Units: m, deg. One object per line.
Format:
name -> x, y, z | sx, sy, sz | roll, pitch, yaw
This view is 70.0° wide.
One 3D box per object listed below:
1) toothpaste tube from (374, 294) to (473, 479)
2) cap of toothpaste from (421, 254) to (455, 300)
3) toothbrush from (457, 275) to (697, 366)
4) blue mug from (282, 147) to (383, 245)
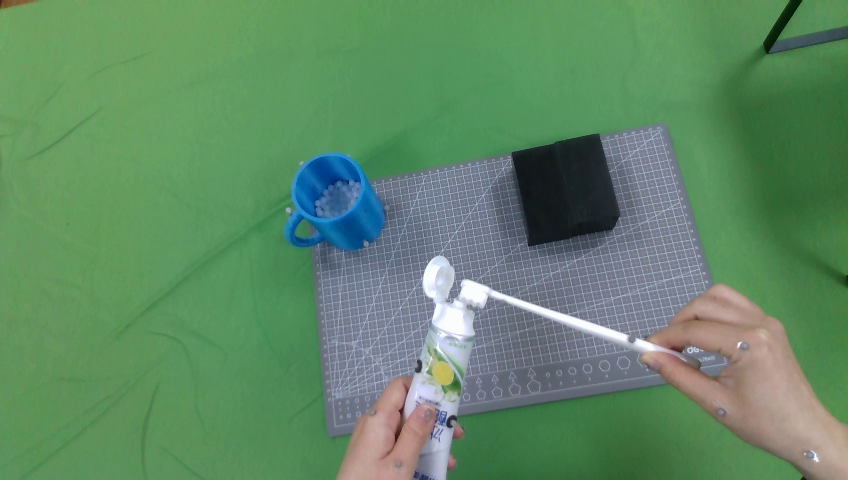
toothpaste tube -> 0.004, 0.120, 0.469 | 0.055, 0.034, 0.165 | 16, 97, 16
cap of toothpaste -> 0.012, 0.029, 0.470 | 0.011, 0.038, 0.037 | 10, 73, 40
toothbrush -> 0.111, 0.061, 0.445 | 0.181, 0.014, 0.016 | 18, 60, 4
blue mug -> -0.110, -0.038, 0.697 | 0.116, 0.106, 0.082 | -37, 72, -3
